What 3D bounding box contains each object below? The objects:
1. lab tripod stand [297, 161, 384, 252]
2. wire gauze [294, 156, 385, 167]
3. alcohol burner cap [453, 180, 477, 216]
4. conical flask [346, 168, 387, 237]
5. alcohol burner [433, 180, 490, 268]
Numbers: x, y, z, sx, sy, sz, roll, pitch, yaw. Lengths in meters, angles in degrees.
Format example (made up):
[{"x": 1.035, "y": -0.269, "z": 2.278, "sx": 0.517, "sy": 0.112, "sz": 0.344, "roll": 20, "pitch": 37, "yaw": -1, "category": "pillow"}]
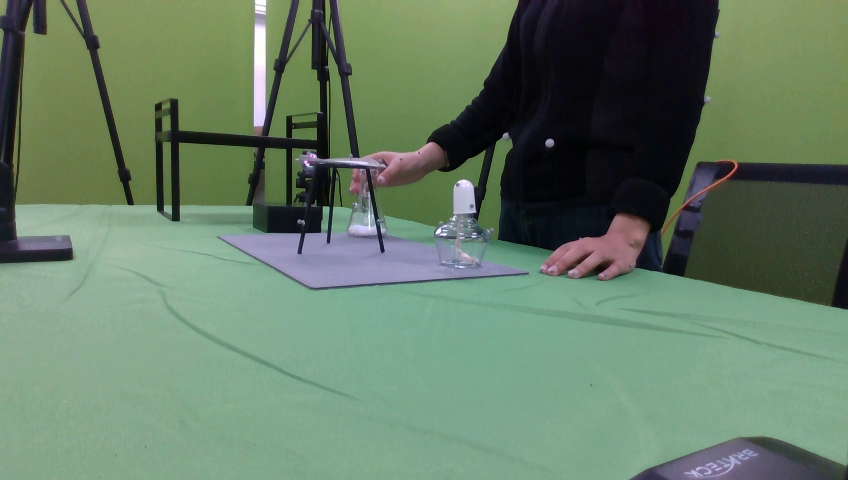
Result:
[{"x": -0.130, "y": -0.051, "z": 0.903, "sx": 0.148, "sy": 0.131, "sz": 0.148, "roll": 3, "pitch": 9, "yaw": 0, "category": "lab tripod stand"}, {"x": -0.128, "y": -0.118, "z": 0.901, "sx": 0.125, "sy": 0.011, "sz": 0.121, "roll": 0, "pitch": 8, "yaw": -14, "category": "wire gauze"}, {"x": 0.054, "y": -0.057, "z": 0.811, "sx": 0.034, "sy": 0.048, "sz": 0.034, "roll": -3, "pitch": 6, "yaw": 1, "category": "alcohol burner cap"}, {"x": -0.102, "y": -0.068, "z": 1.091, "sx": 0.075, "sy": 0.122, "sz": 0.075, "roll": 2, "pitch": 7, "yaw": 0, "category": "conical flask"}, {"x": 0.052, "y": -0.021, "z": 0.816, "sx": 0.078, "sy": 0.119, "sz": 0.078, "roll": 4, "pitch": 7, "yaw": 0, "category": "alcohol burner"}]
